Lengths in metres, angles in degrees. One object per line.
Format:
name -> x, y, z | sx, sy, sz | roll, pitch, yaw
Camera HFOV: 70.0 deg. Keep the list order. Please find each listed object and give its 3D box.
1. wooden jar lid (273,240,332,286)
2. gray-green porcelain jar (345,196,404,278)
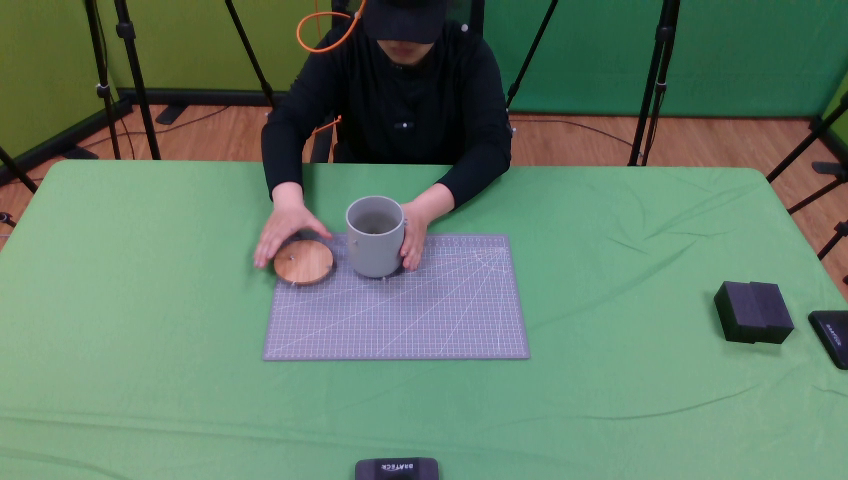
wooden jar lid -> -0.227, 0.044, 1.137 | 0.108, 0.021, 0.107 | 3, 47, -3
gray-green porcelain jar -> -0.091, -0.001, 1.117 | 0.106, 0.127, 0.105 | 2, 46, -2
